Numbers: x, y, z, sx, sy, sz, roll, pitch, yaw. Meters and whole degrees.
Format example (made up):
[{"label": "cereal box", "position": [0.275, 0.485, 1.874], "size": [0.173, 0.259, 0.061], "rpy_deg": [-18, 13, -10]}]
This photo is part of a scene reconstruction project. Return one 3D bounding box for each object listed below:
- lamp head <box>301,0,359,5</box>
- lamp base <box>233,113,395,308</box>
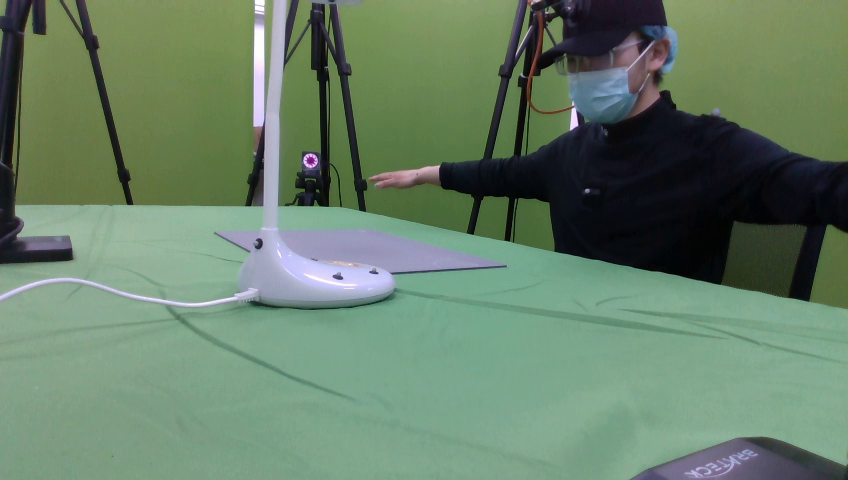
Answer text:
[{"label": "lamp head", "position": [-0.095, -0.314, 0.610], "size": [0.112, 0.123, 0.112], "rpy_deg": [-4, 50, 5]}, {"label": "lamp base", "position": [-0.113, -0.033, 0.600], "size": [0.160, 0.180, 0.180], "rpy_deg": [6, 11, 28]}]
